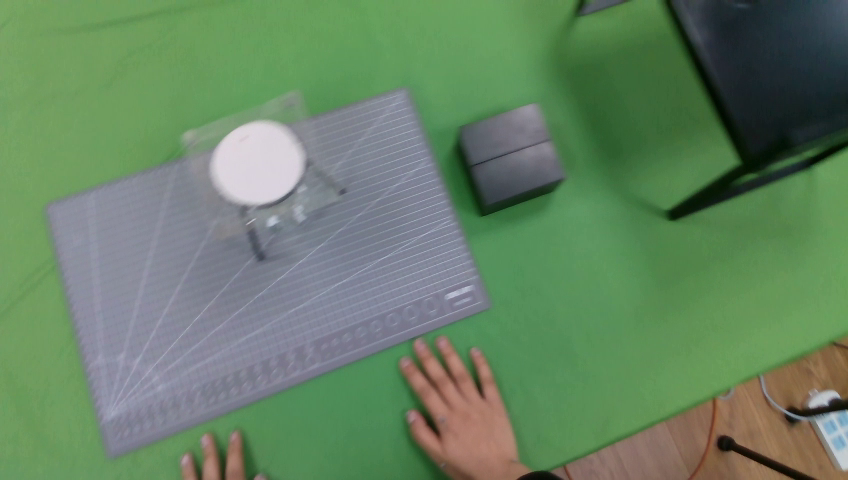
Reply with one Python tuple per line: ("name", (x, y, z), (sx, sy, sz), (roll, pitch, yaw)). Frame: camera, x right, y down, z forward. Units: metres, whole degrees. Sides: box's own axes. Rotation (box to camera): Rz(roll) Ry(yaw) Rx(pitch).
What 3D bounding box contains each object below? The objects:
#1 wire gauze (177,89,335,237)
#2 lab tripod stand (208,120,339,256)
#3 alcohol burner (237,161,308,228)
("wire gauze", (-0.166, -0.076, 0.592), (0.125, 0.011, 0.121), (-21, 79, -7))
("lab tripod stand", (-0.174, -0.065, 0.659), (0.148, 0.132, 0.147), (0, 78, -1))
("alcohol burner", (-0.170, -0.055, 0.667), (0.078, 0.119, 0.077), (0, 79, -1))
